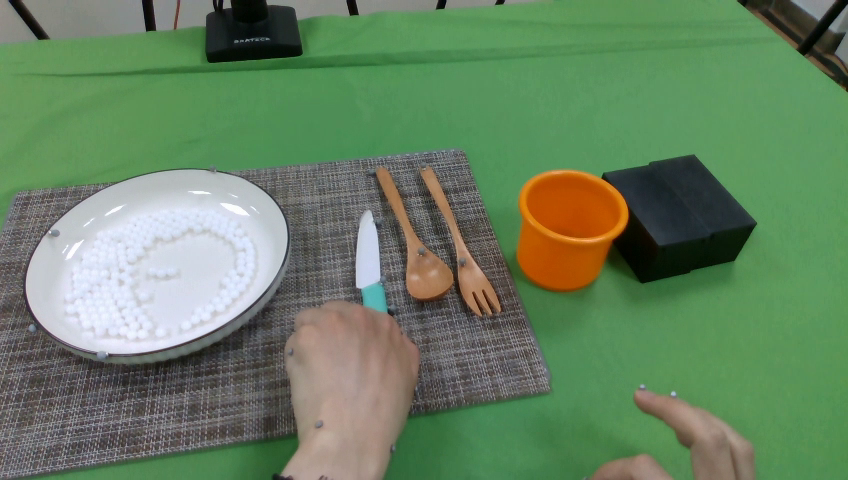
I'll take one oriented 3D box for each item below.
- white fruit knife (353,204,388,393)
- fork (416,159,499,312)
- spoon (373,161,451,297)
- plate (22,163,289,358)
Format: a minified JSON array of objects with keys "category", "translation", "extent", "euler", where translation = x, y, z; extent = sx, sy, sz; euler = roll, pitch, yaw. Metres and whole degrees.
[{"category":"white fruit knife","translation":[-0.047,0.038,0.518],"extent":[0.027,0.016,0.205],"euler":[2,46,-10]},{"category":"fork","translation":[0.025,-0.012,0.565],"extent":[0.028,0.019,0.205],"euler":[-15,51,-8]},{"category":"spoon","translation":[-0.019,-0.018,0.565],"extent":[0.041,0.022,0.191],"euler":[-24,51,0]},{"category":"plate","translation":[-0.218,0.014,0.515],"extent":[0.209,0.038,0.207],"euler":[2,47,-1]}]
